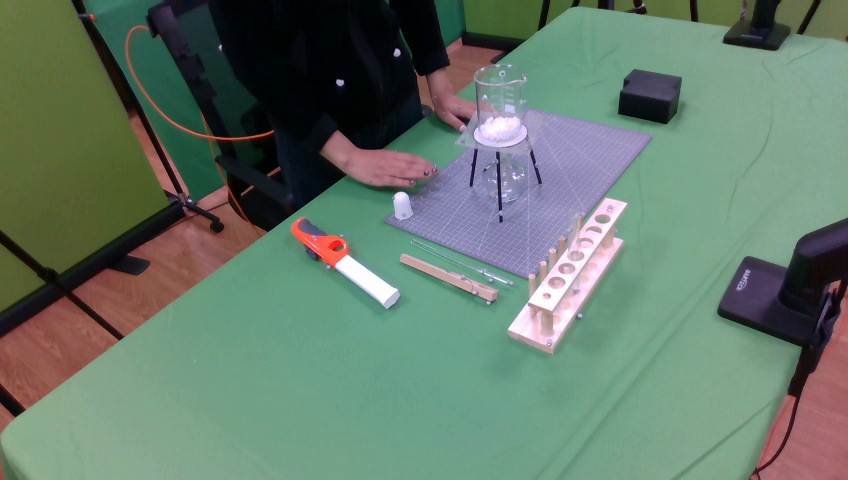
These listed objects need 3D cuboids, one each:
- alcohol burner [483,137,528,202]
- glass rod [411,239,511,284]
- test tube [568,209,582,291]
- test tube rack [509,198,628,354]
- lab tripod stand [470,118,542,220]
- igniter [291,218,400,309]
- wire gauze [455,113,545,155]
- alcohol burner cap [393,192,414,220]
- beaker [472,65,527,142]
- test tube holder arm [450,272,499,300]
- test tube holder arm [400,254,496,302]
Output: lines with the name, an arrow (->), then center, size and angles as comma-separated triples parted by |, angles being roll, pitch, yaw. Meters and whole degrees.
alcohol burner -> 0.138, -0.125, 1.030 | 0.078, 0.119, 0.077 | -4, 41, 4
glass rod -> 0.053, 0.033, 0.946 | 0.198, 0.008, 0.008 | 23, 50, 36
test tube -> 0.200, 0.017, 0.799 | 0.017, 0.151, 0.017 | -8, 45, 8
test tube rack -> 0.206, 0.039, 0.850 | 0.066, 0.085, 0.243 | 20, 48, 31
lab tripod stand -> 0.135, -0.128, 1.019 | 0.148, 0.132, 0.147 | -5, 38, 5
igniter -> -0.136, 0.031, 0.970 | 0.057, 0.025, 0.274 | -41, 49, -19
wire gauze -> 0.124, -0.175, 0.973 | 0.124, 0.011, 0.121 | 8, 39, 21
alcohol burner cap -> -0.038, -0.061, 1.043 | 0.034, 0.048, 0.033 | -6, 41, 5
beaker -> 0.120, -0.211, 0.942 | 0.083, 0.101, 0.074 | 10, 42, 21
test tube holder arm -> 0.071, 0.068, 0.895 | 0.087, 0.015, 0.010 | 21, 17, 33
test tube holder arm -> 0.033, 0.055, 0.915 | 0.177, 0.015, 0.013 | 21, 17, 33
